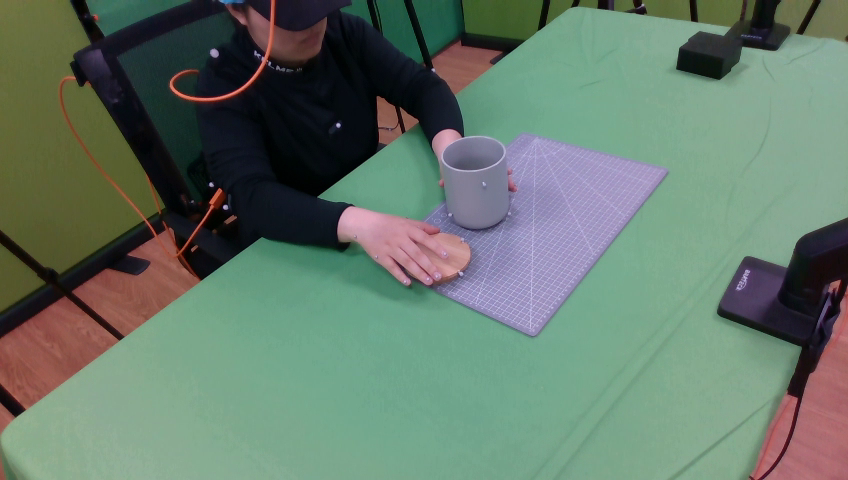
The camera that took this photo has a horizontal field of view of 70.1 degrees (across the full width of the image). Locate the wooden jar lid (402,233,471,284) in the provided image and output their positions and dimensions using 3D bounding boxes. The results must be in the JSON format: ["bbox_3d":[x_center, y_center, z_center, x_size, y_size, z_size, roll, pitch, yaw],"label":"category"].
[{"bbox_3d":[0.020,0.030,0.941,0.108,0.021,0.108,-4,40,4],"label":"wooden jar lid"}]

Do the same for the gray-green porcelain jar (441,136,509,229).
[{"bbox_3d":[0.086,-0.090,0.988,0.106,0.127,0.105,-5,40,5],"label":"gray-green porcelain jar"}]
